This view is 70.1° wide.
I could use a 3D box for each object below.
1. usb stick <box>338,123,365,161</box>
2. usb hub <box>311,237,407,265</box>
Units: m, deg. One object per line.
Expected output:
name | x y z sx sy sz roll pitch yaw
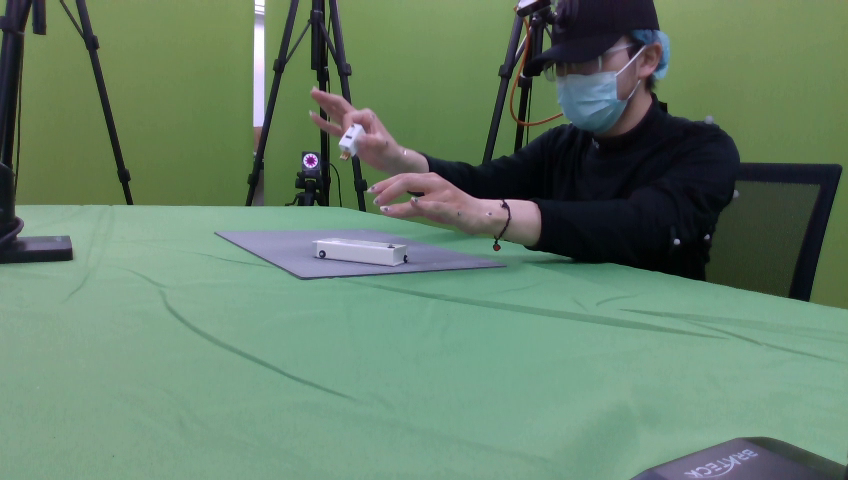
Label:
usb stick | -0.117 -0.152 0.949 0.021 0.059 0.027 20 -20 21
usb hub | -0.089 0.014 0.828 0.125 0.025 0.049 5 9 21
